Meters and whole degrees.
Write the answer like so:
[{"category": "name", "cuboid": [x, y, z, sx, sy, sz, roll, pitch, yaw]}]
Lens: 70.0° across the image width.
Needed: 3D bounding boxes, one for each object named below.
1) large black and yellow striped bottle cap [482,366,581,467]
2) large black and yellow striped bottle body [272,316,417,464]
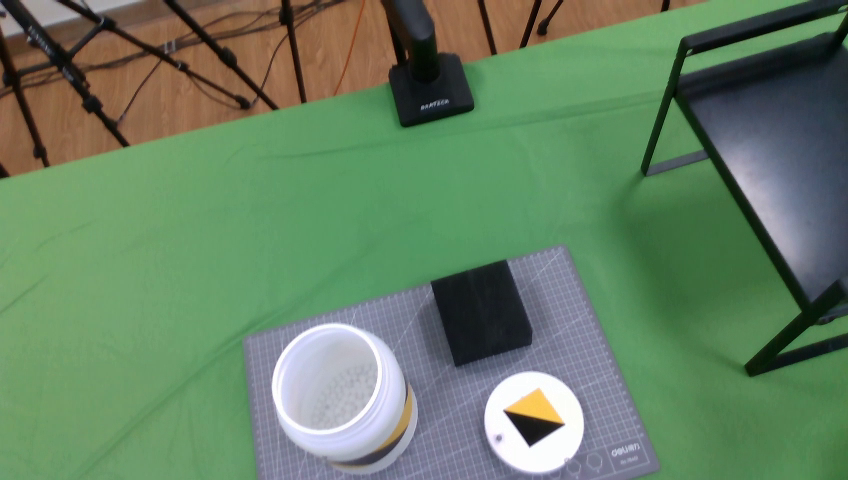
[{"category": "large black and yellow striped bottle cap", "cuboid": [0.125, 0.205, 0.709, 0.115, 0.019, 0.114, -3, 61, 5]}, {"category": "large black and yellow striped bottle body", "cuboid": [-0.083, 0.165, 0.660, 0.130, 0.185, 0.129, -3, 62, 6]}]
